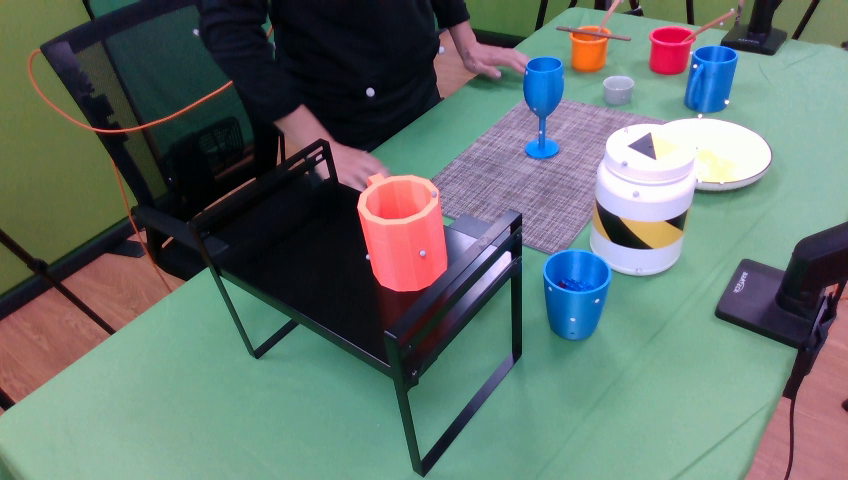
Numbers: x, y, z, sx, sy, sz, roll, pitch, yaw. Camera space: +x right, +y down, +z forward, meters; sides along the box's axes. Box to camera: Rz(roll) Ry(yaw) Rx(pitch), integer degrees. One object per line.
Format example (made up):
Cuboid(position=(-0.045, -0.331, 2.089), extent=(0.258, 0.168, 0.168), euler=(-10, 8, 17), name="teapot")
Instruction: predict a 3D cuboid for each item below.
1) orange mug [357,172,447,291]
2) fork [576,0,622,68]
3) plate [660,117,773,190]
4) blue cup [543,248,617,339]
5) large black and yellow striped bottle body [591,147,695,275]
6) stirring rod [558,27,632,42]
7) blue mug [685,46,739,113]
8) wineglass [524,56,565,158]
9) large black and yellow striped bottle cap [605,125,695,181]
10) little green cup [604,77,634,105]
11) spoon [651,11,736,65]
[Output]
Cuboid(position=(-0.030, -0.018, 0.669), extent=(0.084, 0.101, 0.125), euler=(-23, 47, -16), name="orange mug")
Cuboid(position=(0.409, -0.484, 1.381), extent=(0.028, 0.019, 0.207), euler=(37, 101, 46), name="fork")
Cuboid(position=(0.495, -0.148, 1.063), extent=(0.209, 0.038, 0.208), euler=(-5, 40, 4), name="plate")
Cuboid(position=(0.199, 0.076, 0.797), extent=(0.092, 0.100, 0.092), euler=(-4, 39, 4), name="blue cup")
Cuboid(position=(0.313, -0.056, 0.870), extent=(0.131, 0.185, 0.130), euler=(-4, 40, 4), name="large black and yellow striped bottle body")
Cuboid(position=(0.381, -0.463, 1.356), extent=(0.175, 0.006, 0.014), euler=(22, 48, 30), name="stirring rod")
Cuboid(position=(0.556, -0.310, 1.190), extent=(0.117, 0.106, 0.081), euler=(-32, 46, -25), name="blue mug")
Cuboid(position=(0.219, -0.240, 1.101), extent=(0.074, 0.173, 0.073), euler=(-5, 41, 4), name="wineglass")
Cuboid(position=(0.304, -0.120, 0.817), extent=(0.115, 0.019, 0.114), euler=(-3, 41, 3), name="large black and yellow striped bottle cap")
Cuboid(position=(0.407, -0.311, 1.266), extent=(0.061, 0.039, 0.061), euler=(-5, 40, 5), name="little green cup")
Cuboid(position=(0.574, -0.431, 1.297), extent=(0.193, 0.022, 0.041), euler=(-34, 19, 47), name="spoon")
